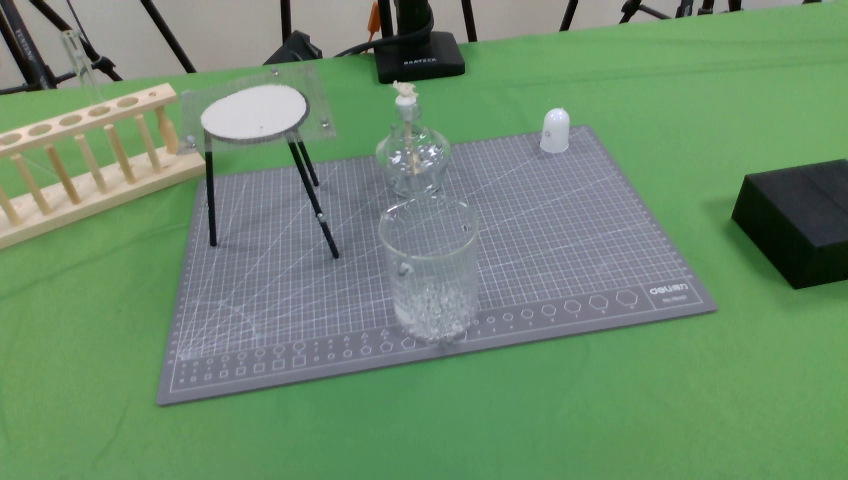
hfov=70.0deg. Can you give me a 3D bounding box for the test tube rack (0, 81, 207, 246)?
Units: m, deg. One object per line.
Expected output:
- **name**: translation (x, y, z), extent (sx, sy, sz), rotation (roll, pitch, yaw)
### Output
- **test tube rack**: translation (-0.364, -0.080, 0.633), extent (0.242, 0.086, 0.066), rotation (-26, 46, -22)

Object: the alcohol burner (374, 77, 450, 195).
- **alcohol burner**: translation (-0.014, -0.106, 0.608), extent (0.078, 0.120, 0.077), rotation (-4, 41, 4)

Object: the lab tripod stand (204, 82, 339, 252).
- **lab tripod stand**: translation (-0.141, -0.064, 0.557), extent (0.148, 0.133, 0.147), rotation (-3, 44, 3)

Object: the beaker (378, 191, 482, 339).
- **beaker**: translation (0.004, 0.022, 0.477), extent (0.083, 0.101, 0.074), rotation (24, 49, 29)

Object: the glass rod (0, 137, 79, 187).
- **glass rod**: translation (-0.423, -0.104, 0.581), extent (0.008, 0.202, 0.008), rotation (-16, 55, 24)

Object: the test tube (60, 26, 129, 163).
- **test tube**: translation (-0.340, -0.146, 0.630), extent (0.017, 0.151, 0.017), rotation (-2, 39, 2)

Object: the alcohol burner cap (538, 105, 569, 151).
- **alcohol burner cap**: translation (0.144, -0.127, 0.671), extent (0.034, 0.048, 0.033), rotation (-2, 42, 2)

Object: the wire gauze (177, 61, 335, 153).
- **wire gauze**: translation (-0.145, -0.113, 0.511), extent (0.125, 0.011, 0.120), rotation (-13, 43, -8)
